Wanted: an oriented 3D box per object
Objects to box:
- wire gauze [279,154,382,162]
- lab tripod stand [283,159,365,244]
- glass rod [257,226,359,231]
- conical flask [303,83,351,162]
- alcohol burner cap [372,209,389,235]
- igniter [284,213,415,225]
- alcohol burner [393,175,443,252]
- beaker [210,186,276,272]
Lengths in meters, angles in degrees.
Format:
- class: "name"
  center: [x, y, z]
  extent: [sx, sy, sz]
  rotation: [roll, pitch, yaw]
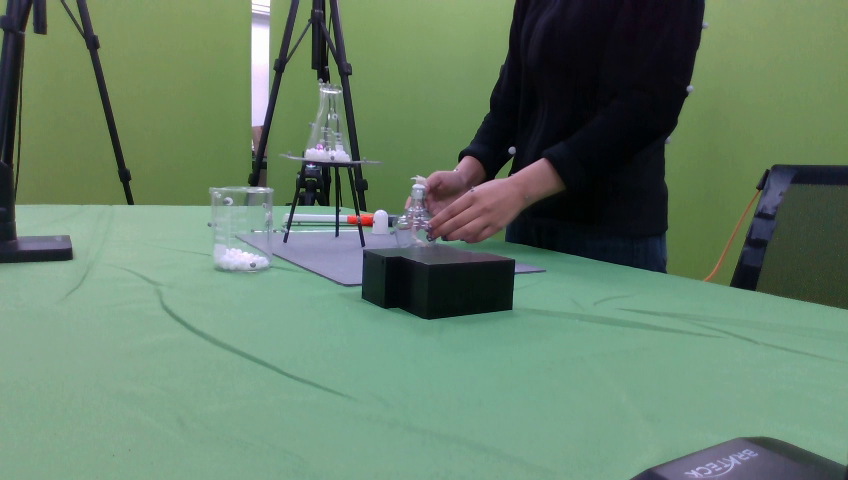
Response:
- class: "wire gauze"
  center: [-0.149, -0.128, 0.974]
  extent: [0.124, 0.011, 0.122]
  rotation: [6, 6, 41]
- class: "lab tripod stand"
  center: [-0.151, -0.063, 0.983]
  extent: [0.148, 0.131, 0.148]
  rotation: [4, 7, 0]
- class: "glass rod"
  center: [-0.216, -0.022, 1.151]
  extent: [0.201, 0.008, 0.008]
  rotation: [-2, 8, -28]
- class: "conical flask"
  center: [-0.151, -0.186, 0.963]
  extent: [0.075, 0.122, 0.075]
  rotation: [4, 6, 0]
- class: "alcohol burner cap"
  center: [-0.082, -0.035, 1.143]
  extent: [0.034, 0.048, 0.034]
  rotation: [2, 6, 0]
- class: "igniter"
  center: [-0.154, -0.045, 1.282]
  extent: [0.278, 0.025, 0.057]
  rotation: [0, -3, -20]
- class: "alcohol burner"
  center: [-0.009, -0.042, 0.944]
  extent: [0.078, 0.119, 0.078]
  rotation: [3, 5, 0]
- class: "beaker"
  center: [-0.224, -0.014, 0.738]
  extent: [0.084, 0.100, 0.074]
  rotation: [4, 7, 16]
